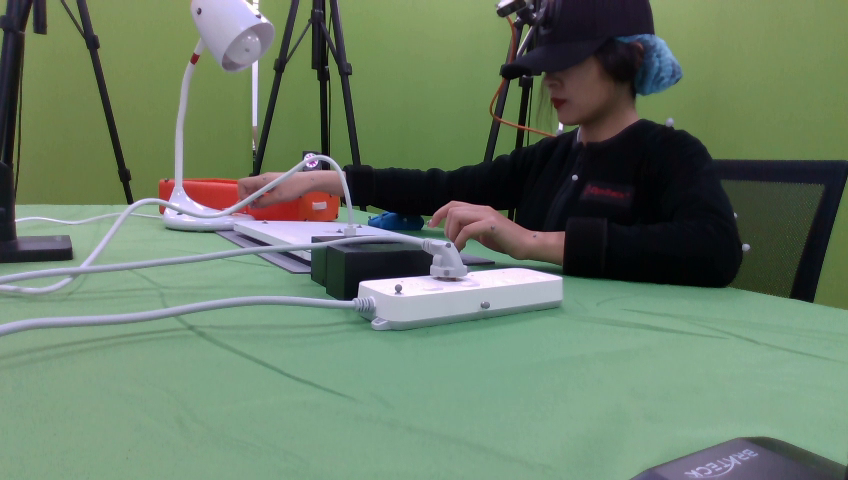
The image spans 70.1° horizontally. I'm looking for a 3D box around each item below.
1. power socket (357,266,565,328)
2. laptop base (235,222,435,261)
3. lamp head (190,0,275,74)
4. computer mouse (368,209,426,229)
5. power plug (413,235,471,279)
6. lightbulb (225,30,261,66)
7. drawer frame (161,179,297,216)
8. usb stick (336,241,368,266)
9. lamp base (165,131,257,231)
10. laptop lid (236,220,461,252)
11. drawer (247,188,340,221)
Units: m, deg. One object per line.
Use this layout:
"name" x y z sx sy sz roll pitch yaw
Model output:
"power socket" 0.041 0.049 0.572 0.228 0.032 0.072 -3 8 -35
"laptop base" -0.135 0.001 0.949 0.237 0.023 0.352 2 6 -33
"lamp head" -0.330 -0.355 1.008 0.123 0.112 0.112 43 15 6
"computer mouse" -0.057 -0.044 1.267 0.118 0.041 0.062 -6 12 -28
"power plug" 0.017 0.023 0.588 0.035 0.052 0.072 -1 7 -24
"lightbulb" -0.317 -0.335 1.001 0.107 0.059 0.059 46 15 6
"drawer frame" -0.421 -0.089 1.329 0.213 0.082 0.202 4 8 16
"usb stick" -0.093 0.016 0.748 0.021 0.027 0.059 -4 5 -36
"lamp base" -0.407 -0.111 1.119 0.179 0.180 0.161 -1 7 7
"laptop lid" -0.133 -0.010 0.948 0.243 0.013 0.355 0 7 -32
"drawer" -0.314 -0.079 1.301 0.211 0.073 0.195 4 8 15
